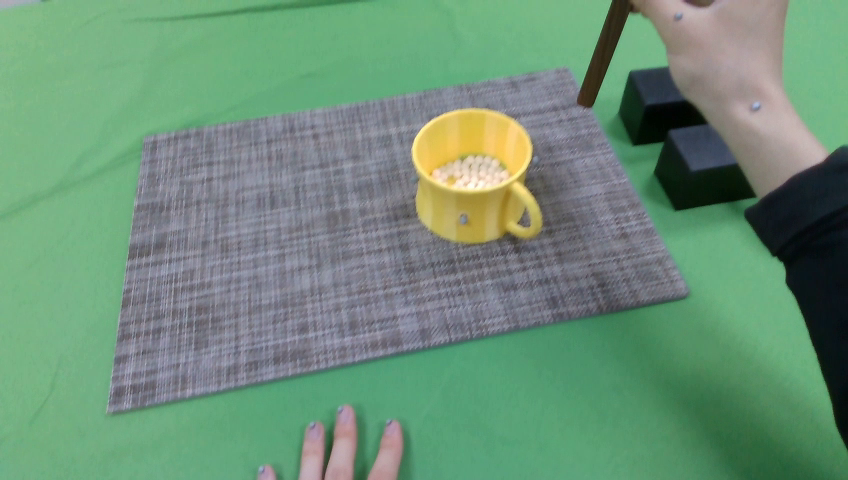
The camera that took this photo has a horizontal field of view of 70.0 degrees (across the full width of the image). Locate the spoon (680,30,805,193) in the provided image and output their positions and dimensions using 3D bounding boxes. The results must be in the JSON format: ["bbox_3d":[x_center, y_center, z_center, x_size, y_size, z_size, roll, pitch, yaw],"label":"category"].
[{"bbox_3d":[0.276,-0.118,0.528,0.042,0.022,0.191,-10,55,-6],"label":"spoon"}]

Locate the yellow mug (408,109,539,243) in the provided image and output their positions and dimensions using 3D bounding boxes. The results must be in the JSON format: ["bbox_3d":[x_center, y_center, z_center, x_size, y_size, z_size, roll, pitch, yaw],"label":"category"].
[{"bbox_3d":[0.048,-0.048,0.516,0.100,0.064,0.129,-37,60,-23],"label":"yellow mug"}]

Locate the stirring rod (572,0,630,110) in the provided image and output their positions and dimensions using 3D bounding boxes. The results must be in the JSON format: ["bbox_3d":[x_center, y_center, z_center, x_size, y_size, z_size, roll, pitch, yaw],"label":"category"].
[{"bbox_3d":[0.131,-0.163,0.404,0.014,0.177,0.006,29,49,17],"label":"stirring rod"}]
